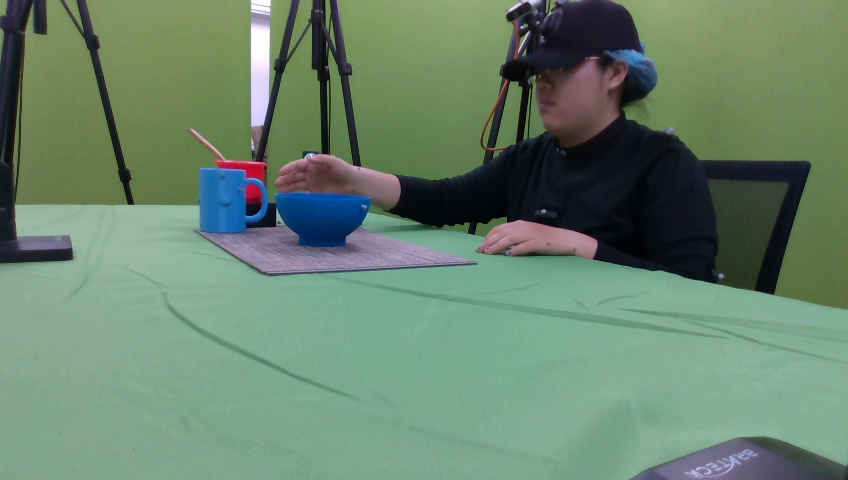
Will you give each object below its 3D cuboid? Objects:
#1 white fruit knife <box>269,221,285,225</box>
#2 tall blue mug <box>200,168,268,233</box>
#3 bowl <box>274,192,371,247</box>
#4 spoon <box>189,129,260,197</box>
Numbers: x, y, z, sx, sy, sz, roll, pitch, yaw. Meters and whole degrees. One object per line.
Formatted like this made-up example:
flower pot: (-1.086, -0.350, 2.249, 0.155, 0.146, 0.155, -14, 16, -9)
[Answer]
white fruit knife: (-0.222, -0.038, 1.261, 0.208, 0.016, 0.027, -4, -17, -31)
tall blue mug: (-0.342, -0.071, 1.072, 0.077, 0.108, 0.108, 8, 9, 38)
bowl: (-0.161, -0.032, 0.958, 0.151, 0.077, 0.151, 3, 7, 0)
spoon: (-0.389, -0.150, 1.174, 0.193, 0.021, 0.042, 48, 20, 6)
